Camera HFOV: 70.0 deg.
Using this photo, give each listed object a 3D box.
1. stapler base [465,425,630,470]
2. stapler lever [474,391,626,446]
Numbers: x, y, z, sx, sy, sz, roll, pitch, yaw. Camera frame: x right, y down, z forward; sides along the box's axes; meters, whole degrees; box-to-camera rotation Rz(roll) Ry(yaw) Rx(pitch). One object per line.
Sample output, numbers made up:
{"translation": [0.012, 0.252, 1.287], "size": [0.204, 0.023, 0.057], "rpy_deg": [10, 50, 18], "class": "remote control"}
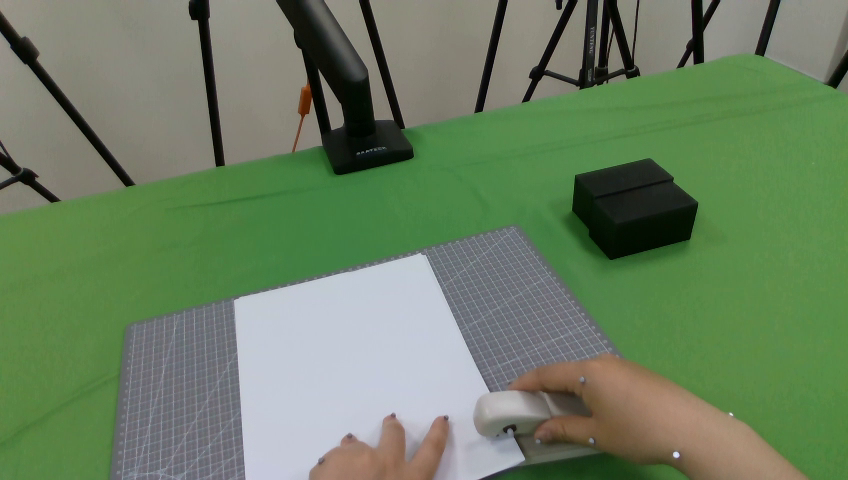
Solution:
{"translation": [0.098, 0.153, 0.487], "size": [0.131, 0.024, 0.041], "rpy_deg": [-7, 40, -5], "class": "stapler base"}
{"translation": [0.098, 0.136, 0.475], "size": [0.118, 0.040, 0.026], "rpy_deg": [-10, 40, -2], "class": "stapler lever"}
